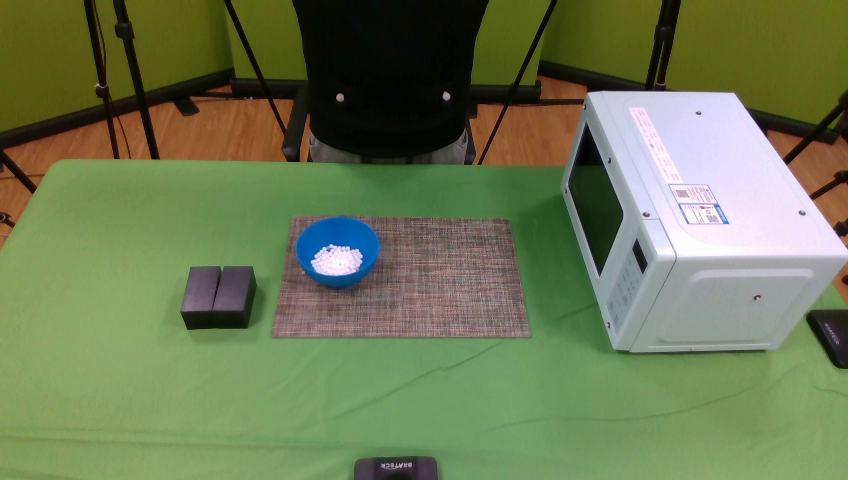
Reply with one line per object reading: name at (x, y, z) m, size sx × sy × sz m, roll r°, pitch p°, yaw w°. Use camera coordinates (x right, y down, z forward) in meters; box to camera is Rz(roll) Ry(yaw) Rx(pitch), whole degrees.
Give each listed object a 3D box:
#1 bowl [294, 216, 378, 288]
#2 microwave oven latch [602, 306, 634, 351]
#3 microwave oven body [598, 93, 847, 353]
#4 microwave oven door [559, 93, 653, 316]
bowl at (-0.158, 0.036, 1.110) m, size 0.151 × 0.077 × 0.150 m, roll 3°, pitch 45°, yaw -2°
microwave oven latch at (0.332, 0.153, 1.044) m, size 0.030 × 0.029 × 0.078 m, roll 0°, pitch 45°, yaw -4°
microwave oven body at (0.475, -0.041, 1.109) m, size 0.326 × 0.261 × 0.438 m, roll -1°, pitch 45°, yaw -4°
microwave oven door at (0.327, -0.074, 1.123) m, size 0.039 × 0.245 × 0.353 m, roll 0°, pitch 46°, yaw -5°
